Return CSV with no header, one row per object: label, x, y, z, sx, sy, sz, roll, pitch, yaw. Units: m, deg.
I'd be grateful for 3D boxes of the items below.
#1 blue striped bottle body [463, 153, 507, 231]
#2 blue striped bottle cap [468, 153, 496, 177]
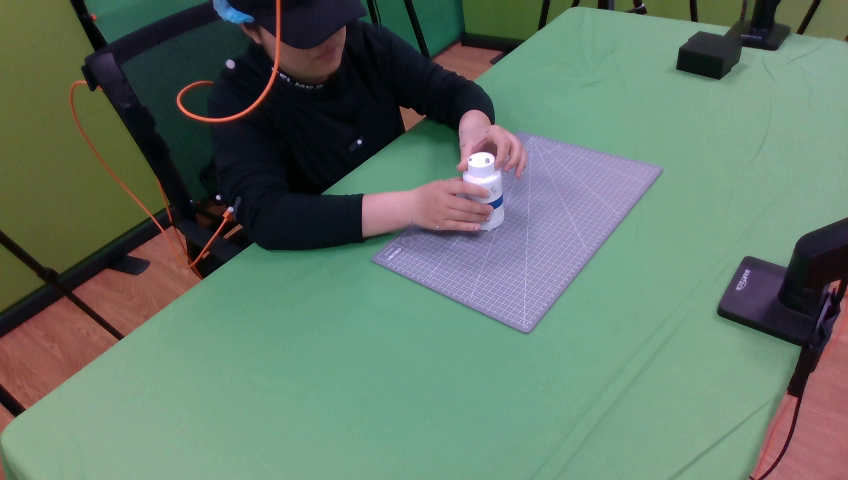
blue striped bottle body,0.098,-0.079,0.978,0.063,0.121,0.063,-7,39,6
blue striped bottle cap,0.090,-0.118,0.946,0.044,0.021,0.044,-3,37,3
